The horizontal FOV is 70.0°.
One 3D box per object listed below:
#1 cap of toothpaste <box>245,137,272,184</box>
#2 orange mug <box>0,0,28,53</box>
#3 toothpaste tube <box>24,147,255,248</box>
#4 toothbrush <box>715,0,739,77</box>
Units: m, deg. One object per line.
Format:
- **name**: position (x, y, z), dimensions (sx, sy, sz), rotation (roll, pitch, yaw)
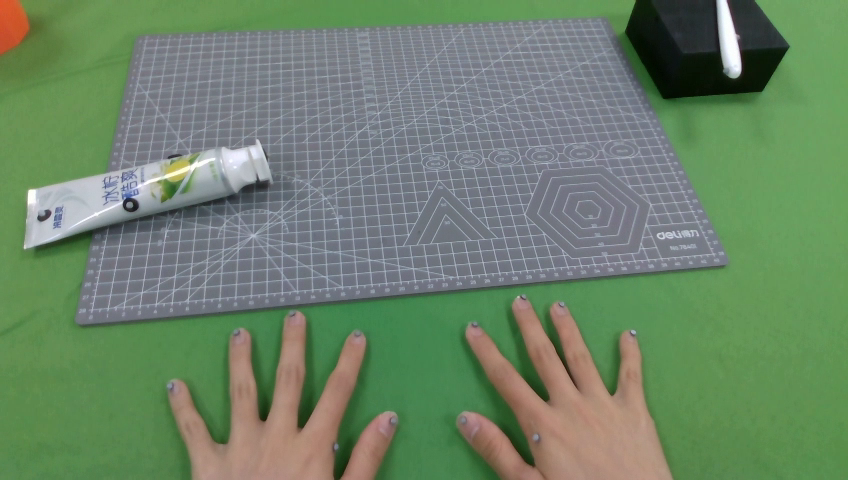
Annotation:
- **cap of toothpaste**: position (-0.122, -0.058, 0.447), dimensions (0.011, 0.037, 0.037), rotation (-21, 58, -18)
- **orange mug**: position (-0.412, -0.205, 0.499), dimensions (0.083, 0.101, 0.126), rotation (30, 54, 16)
- **toothpaste tube**: position (-0.201, -0.038, 0.436), dimensions (0.165, 0.035, 0.054), rotation (-15, 52, -9)
- **toothbrush**: position (0.264, -0.206, 0.535), dimensions (0.014, 0.017, 0.180), rotation (11, 55, 2)
